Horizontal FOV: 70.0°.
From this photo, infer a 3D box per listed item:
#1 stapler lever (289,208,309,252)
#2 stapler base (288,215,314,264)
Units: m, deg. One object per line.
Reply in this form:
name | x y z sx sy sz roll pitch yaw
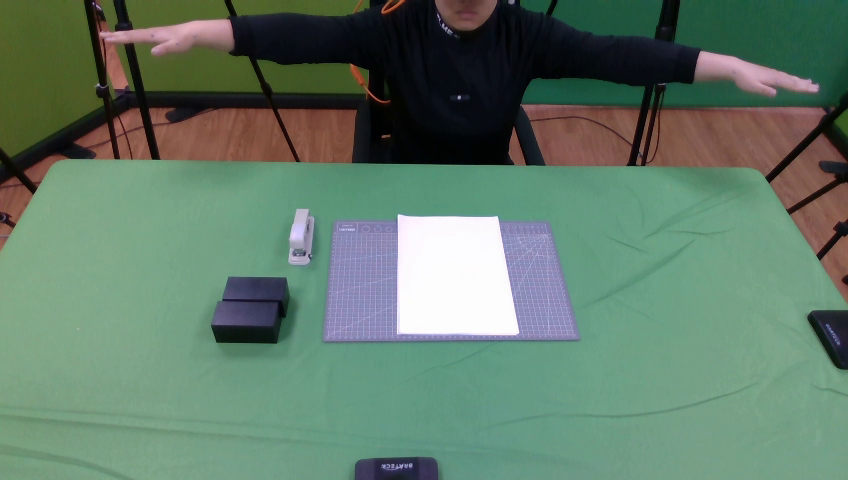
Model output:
stapler lever | -0.240 -0.026 1.168 0.027 0.040 0.117 1 44 -5
stapler base | -0.241 -0.007 1.184 0.041 0.024 0.129 1 44 -6
